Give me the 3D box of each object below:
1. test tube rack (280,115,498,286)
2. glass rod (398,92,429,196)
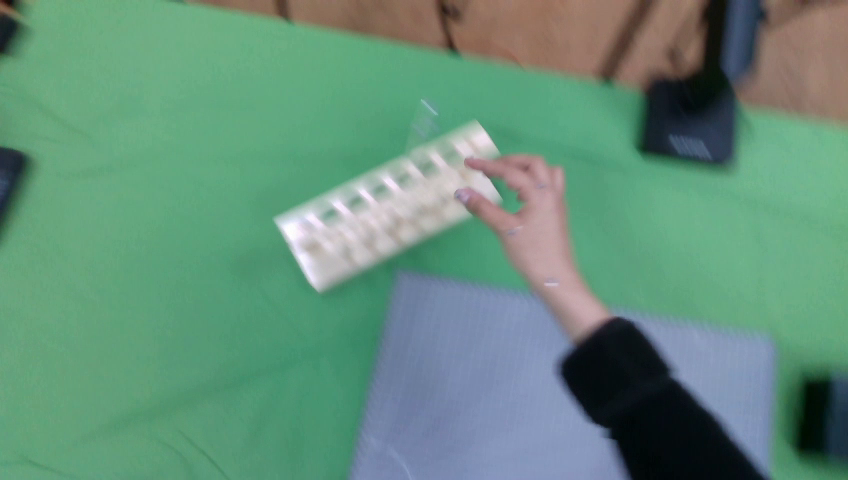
[{"bbox_3d":[-0.030,-0.042,0.675,0.242,0.085,0.066,-29,78,-11],"label":"test tube rack"},{"bbox_3d":[-0.012,-0.091,0.622,0.008,0.200,0.008,3,67,-8],"label":"glass rod"}]
